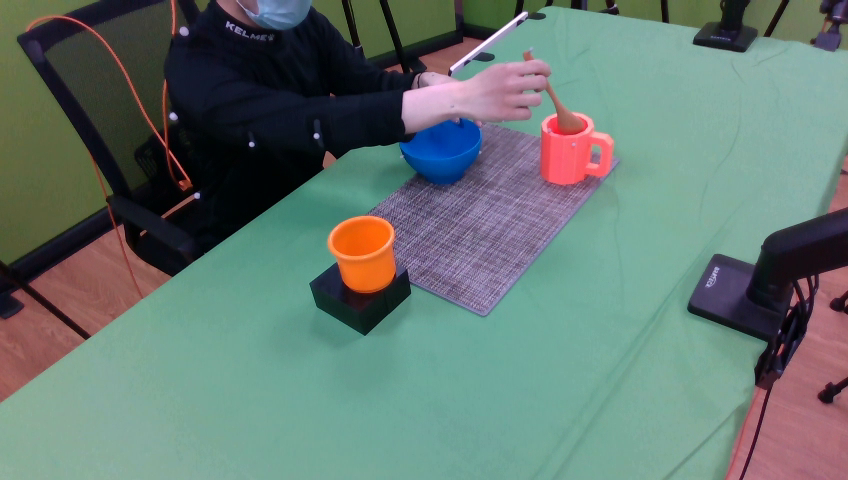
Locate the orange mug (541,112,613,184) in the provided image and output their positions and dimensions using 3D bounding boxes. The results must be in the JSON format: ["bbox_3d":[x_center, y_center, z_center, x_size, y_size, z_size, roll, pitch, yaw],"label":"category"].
[{"bbox_3d":[0.264,-0.157,1.050,0.125,0.101,0.083,14,45,29],"label":"orange mug"}]

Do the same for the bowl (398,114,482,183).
[{"bbox_3d":[0.032,-0.156,1.097,0.151,0.077,0.150,-4,41,4],"label":"bowl"}]

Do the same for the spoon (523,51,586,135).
[{"bbox_3d":[0.206,-0.230,0.966,0.041,0.195,0.021,-21,43,31],"label":"spoon"}]
